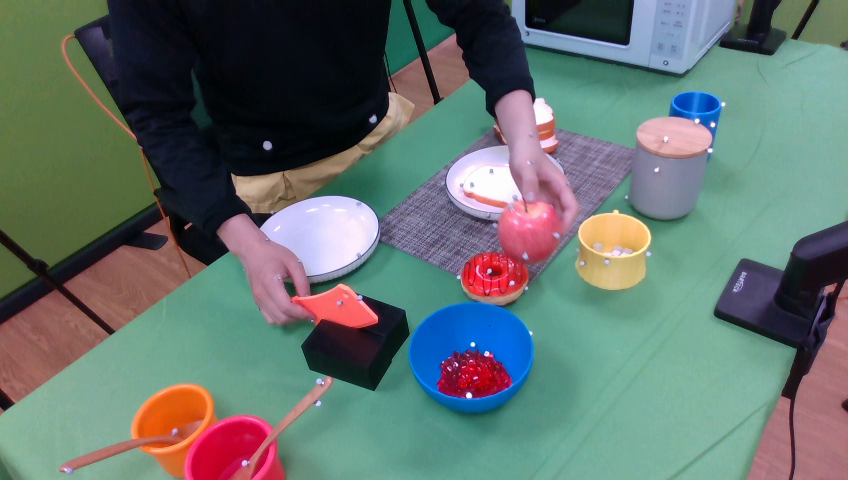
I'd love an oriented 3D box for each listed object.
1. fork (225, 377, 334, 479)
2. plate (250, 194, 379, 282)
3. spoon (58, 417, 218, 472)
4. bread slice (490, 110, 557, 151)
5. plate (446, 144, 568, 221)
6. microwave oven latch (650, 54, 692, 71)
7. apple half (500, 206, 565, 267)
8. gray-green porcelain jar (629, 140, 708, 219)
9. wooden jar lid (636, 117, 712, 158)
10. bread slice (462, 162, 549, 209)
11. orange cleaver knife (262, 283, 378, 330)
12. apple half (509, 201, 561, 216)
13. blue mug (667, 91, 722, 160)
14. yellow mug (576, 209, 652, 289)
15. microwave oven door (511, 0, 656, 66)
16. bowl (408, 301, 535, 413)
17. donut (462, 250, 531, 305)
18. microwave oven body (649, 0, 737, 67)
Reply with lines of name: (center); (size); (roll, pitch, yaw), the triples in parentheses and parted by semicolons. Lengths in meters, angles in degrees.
fork: (-0.163, 0.216, 0.646); (0.207, 0.019, 0.028); (-49, 42, 16)
plate: (-0.174, -0.001, 0.984); (0.209, 0.038, 0.208); (-3, 40, 3)
spoon: (-0.304, 0.221, 0.661); (0.041, 0.195, 0.021); (19, 92, 27)
bread slice: (0.194, -0.204, 1.165); (0.105, 0.019, 0.130); (-13, 40, -3)
plate: (0.142, -0.096, 1.045); (0.207, 0.039, 0.206); (-4, 40, 4)
microwave oven latch: (0.531, -0.386, 1.301); (0.078, 0.029, 0.030); (25, 51, 33)
apple half: (0.132, 0.000, 0.752); (0.080, 0.075, 0.053); (9, 34, 17)
gray-green porcelain jar: (0.383, -0.105, 0.958); (0.106, 0.127, 0.105); (-4, 41, 4)
wooden jar lid: (0.377, -0.151, 0.917); (0.108, 0.021, 0.108); (-2, 41, 3)
bread slice: (0.135, -0.093, 1.045); (0.133, 0.018, 0.107); (15, 45, 23)
orange cleaver knife: (-0.144, 0.094, 0.816); (0.210, 0.077, 0.012); (-9, 33, 43)
apple half: (0.144, -0.019, 0.784); (0.081, 0.081, 0.033); (8, 33, 17)
blue mug: (0.474, -0.207, 1.079); (0.082, 0.106, 0.116); (4, 42, 13)
yellow mug: (0.279, 0.004, 0.893); (0.099, 0.064, 0.130); (6, 42, 14)
microwave oven door: (0.351, -0.539, 1.348); (0.353, 0.245, 0.039); (24, 50, 31)
bowl: (0.060, 0.156, 0.739); (0.151, 0.077, 0.150); (-4, 40, 4)
donut: (0.104, 0.054, 0.872); (0.099, 0.048, 0.098); (-5, 40, 5)
microwave oven body: (0.475, -0.602, 1.411); (0.438, 0.261, 0.327); (23, 50, 32)
